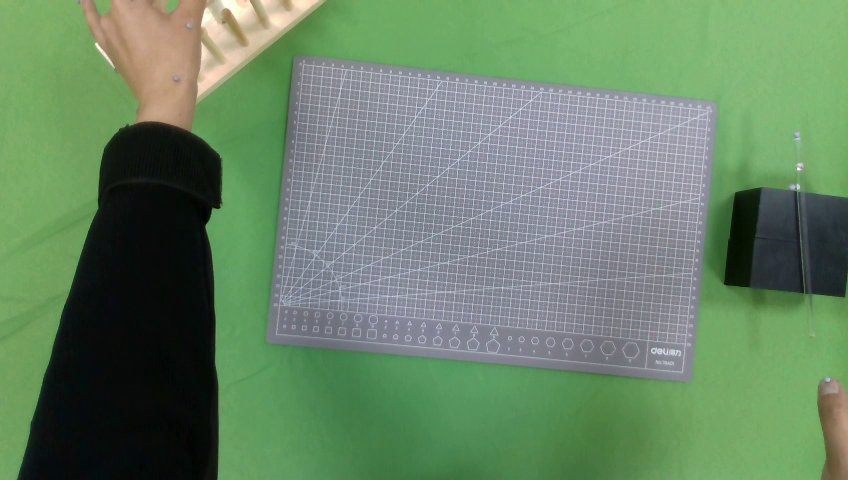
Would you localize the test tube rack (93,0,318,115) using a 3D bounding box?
[{"bbox_3d":[-0.184,-0.230,0.585,0.242,0.085,0.067,-40,91,-2],"label":"test tube rack"}]

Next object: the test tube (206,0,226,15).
[{"bbox_3d":[-0.204,-0.239,0.534,0.017,0.150,0.017,0,83,0],"label":"test tube"}]

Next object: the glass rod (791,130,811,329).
[{"bbox_3d":[0.375,-0.010,0.603,0.008,0.008,0.199,-4,91,-2],"label":"glass rod"}]
